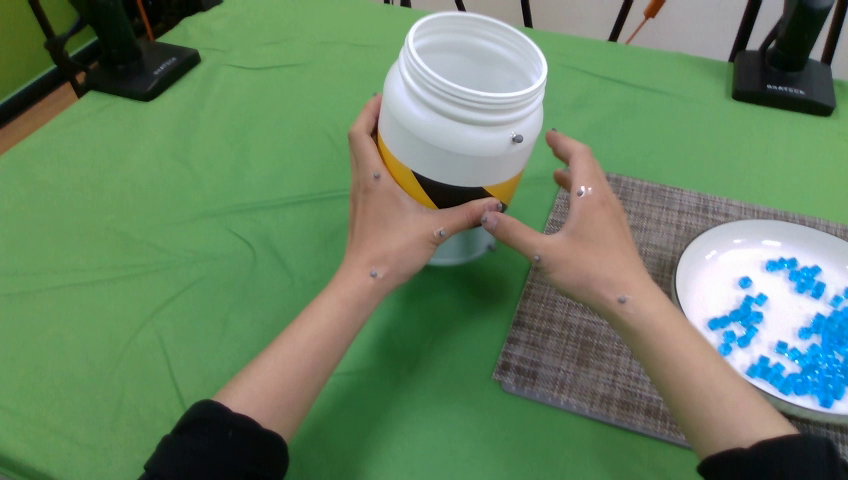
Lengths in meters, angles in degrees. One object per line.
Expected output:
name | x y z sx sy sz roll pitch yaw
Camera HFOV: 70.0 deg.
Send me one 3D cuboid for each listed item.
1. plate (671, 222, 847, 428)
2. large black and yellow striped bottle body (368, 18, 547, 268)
plate | 0.316 0.069 0.518 0.208 0.039 0.205 0 46 1
large black and yellow striped bottle body | 0.025 -0.078 0.519 0.131 0.185 0.129 7 48 -8
